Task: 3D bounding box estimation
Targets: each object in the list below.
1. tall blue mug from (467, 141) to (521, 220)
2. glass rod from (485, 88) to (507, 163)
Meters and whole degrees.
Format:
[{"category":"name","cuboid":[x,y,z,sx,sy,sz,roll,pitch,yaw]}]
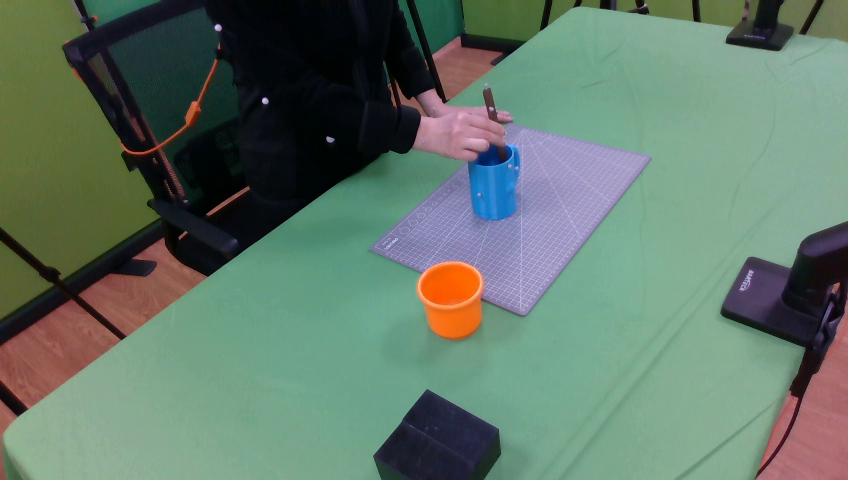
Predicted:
[{"category":"tall blue mug","cuboid":[0.120,-0.109,1.020,0.077,0.108,0.107,3,42,16]},{"category":"glass rod","cuboid":[0.123,-0.159,0.974,0.008,0.201,0.008,-11,44,12]}]
